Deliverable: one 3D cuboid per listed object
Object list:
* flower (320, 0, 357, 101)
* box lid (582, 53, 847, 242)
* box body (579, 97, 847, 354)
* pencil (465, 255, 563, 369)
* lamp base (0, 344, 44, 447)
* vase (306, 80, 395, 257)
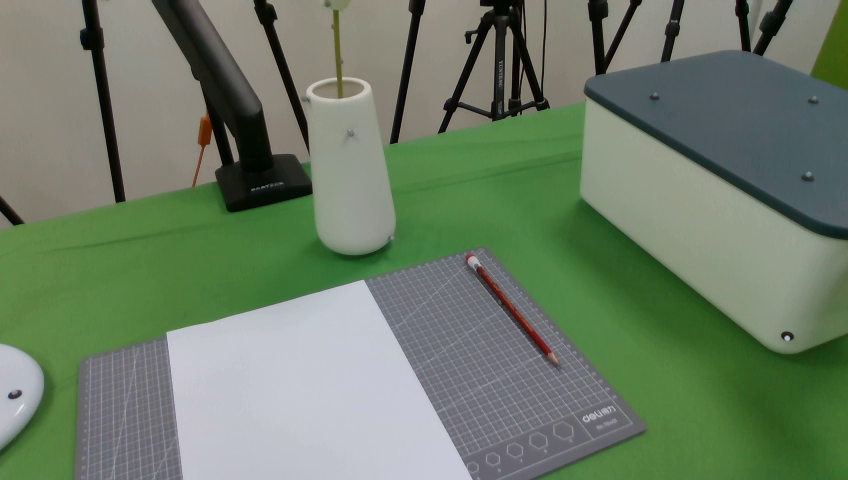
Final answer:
[{"bbox_3d":[-0.088,-0.134,0.638,0.044,0.364,0.038,21,53,8],"label":"flower"},{"bbox_3d":[0.372,-0.121,0.642,0.264,0.015,0.367,-15,38,-17],"label":"box lid"},{"bbox_3d":[0.375,-0.061,0.688,0.255,0.162,0.360,-15,37,-17],"label":"box body"},{"bbox_3d":[0.091,0.071,0.641,0.012,0.012,0.192,-16,38,-19],"label":"pencil"},{"bbox_3d":[-0.440,0.086,0.498,0.178,0.182,0.160,19,40,31],"label":"lamp base"},{"bbox_3d":[-0.088,-0.079,0.703,0.098,0.202,0.097,-2,34,2],"label":"vase"}]
